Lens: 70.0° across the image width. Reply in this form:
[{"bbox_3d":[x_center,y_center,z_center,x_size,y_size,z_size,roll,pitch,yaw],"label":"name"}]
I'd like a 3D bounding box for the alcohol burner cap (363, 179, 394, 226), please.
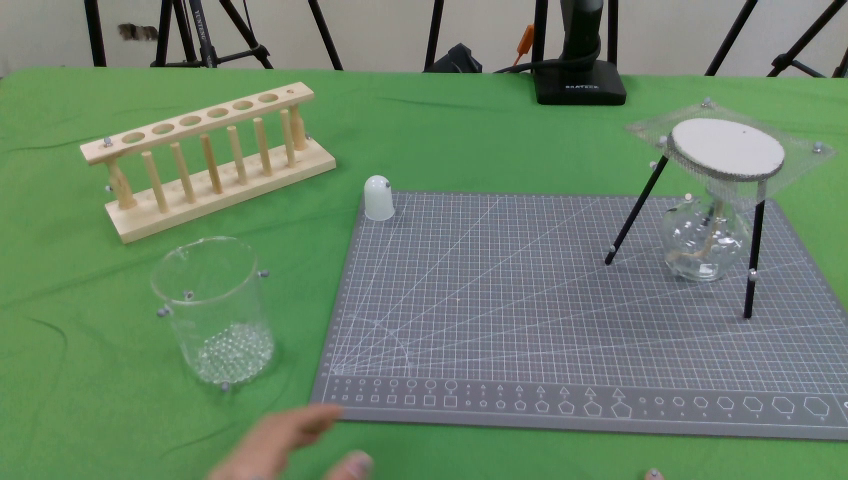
[{"bbox_3d":[-0.048,-0.042,0.635,0.034,0.048,0.033,0,40,0],"label":"alcohol burner cap"}]

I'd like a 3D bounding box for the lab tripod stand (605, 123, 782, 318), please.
[{"bbox_3d":[0.247,-0.022,0.532,0.148,0.132,0.147,1,40,0],"label":"lab tripod stand"}]

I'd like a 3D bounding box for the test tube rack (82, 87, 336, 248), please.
[{"bbox_3d":[-0.223,-0.085,0.662,0.243,0.086,0.066,-24,45,-26],"label":"test tube rack"}]

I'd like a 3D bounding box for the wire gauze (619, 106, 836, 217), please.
[{"bbox_3d":[0.242,-0.073,0.488,0.122,0.011,0.123,-22,46,-25],"label":"wire gauze"}]

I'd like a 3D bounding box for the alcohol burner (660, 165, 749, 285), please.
[{"bbox_3d":[0.255,-0.018,0.543,0.078,0.120,0.077,0,42,1],"label":"alcohol burner"}]

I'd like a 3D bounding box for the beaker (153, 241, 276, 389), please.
[{"bbox_3d":[-0.160,0.060,0.473,0.083,0.101,0.074,31,49,34],"label":"beaker"}]
